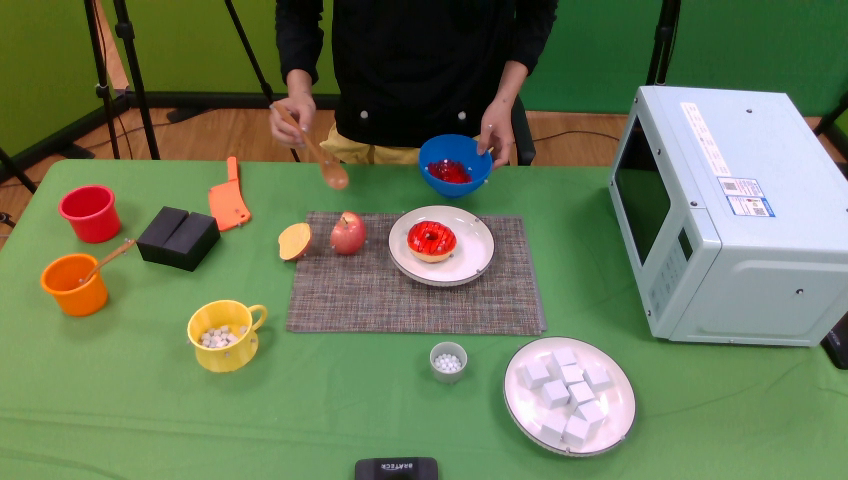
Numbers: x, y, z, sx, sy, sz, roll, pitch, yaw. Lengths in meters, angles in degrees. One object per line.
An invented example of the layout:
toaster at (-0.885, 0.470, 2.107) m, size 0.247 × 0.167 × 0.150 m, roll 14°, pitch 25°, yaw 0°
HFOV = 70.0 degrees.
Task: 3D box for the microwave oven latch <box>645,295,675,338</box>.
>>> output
microwave oven latch at (0.412, 0.134, 1.061) m, size 0.030 × 0.029 × 0.078 m, roll 3°, pitch 45°, yaw 0°

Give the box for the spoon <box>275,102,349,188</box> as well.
spoon at (-0.201, -0.170, 1.096) m, size 0.041 × 0.195 × 0.021 m, roll -36°, pitch 31°, yaw 2°

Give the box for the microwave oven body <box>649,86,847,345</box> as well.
microwave oven body at (0.568, -0.053, 1.118) m, size 0.326 × 0.261 × 0.439 m, roll 2°, pitch 45°, yaw -1°

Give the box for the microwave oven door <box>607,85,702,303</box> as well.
microwave oven door at (0.423, -0.094, 1.141) m, size 0.039 × 0.245 × 0.353 m, roll 2°, pitch 46°, yaw -1°

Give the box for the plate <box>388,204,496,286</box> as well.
plate at (0.033, 0.014, 1.171) m, size 0.209 × 0.038 × 0.208 m, roll 2°, pitch 46°, yaw -2°

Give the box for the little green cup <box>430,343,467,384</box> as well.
little green cup at (0.039, 0.203, 0.994) m, size 0.061 × 0.039 × 0.061 m, roll 2°, pitch 46°, yaw -2°

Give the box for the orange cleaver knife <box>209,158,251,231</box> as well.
orange cleaver knife at (-0.409, -0.099, 1.266) m, size 0.077 × 0.012 × 0.210 m, roll -14°, pitch 50°, yaw -10°

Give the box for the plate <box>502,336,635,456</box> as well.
plate at (0.225, 0.248, 0.964) m, size 0.208 × 0.039 × 0.206 m, roll 2°, pitch 46°, yaw -2°

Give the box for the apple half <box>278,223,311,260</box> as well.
apple half at (-0.241, 0.007, 1.157) m, size 0.081 × 0.033 × 0.081 m, roll -17°, pitch 54°, yaw 24°

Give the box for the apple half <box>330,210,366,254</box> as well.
apple half at (-0.139, -0.010, 1.157) m, size 0.053 × 0.075 × 0.080 m, roll 18°, pitch 44°, yaw 8°

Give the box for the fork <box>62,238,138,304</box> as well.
fork at (-0.547, 0.053, 1.018) m, size 0.207 × 0.019 × 0.028 m, roll -36°, pitch 41°, yaw 23°

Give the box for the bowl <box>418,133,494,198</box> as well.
bowl at (0.062, -0.139, 1.233) m, size 0.151 × 0.077 × 0.150 m, roll 3°, pitch 49°, yaw -3°

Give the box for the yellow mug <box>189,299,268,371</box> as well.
yellow mug at (-0.316, 0.148, 1.002) m, size 0.131 × 0.064 × 0.099 m, roll -33°, pitch 56°, yaw -31°

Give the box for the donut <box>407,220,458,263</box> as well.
donut at (0.016, 0.002, 1.166) m, size 0.099 × 0.048 × 0.098 m, roll 3°, pitch 44°, yaw -2°
